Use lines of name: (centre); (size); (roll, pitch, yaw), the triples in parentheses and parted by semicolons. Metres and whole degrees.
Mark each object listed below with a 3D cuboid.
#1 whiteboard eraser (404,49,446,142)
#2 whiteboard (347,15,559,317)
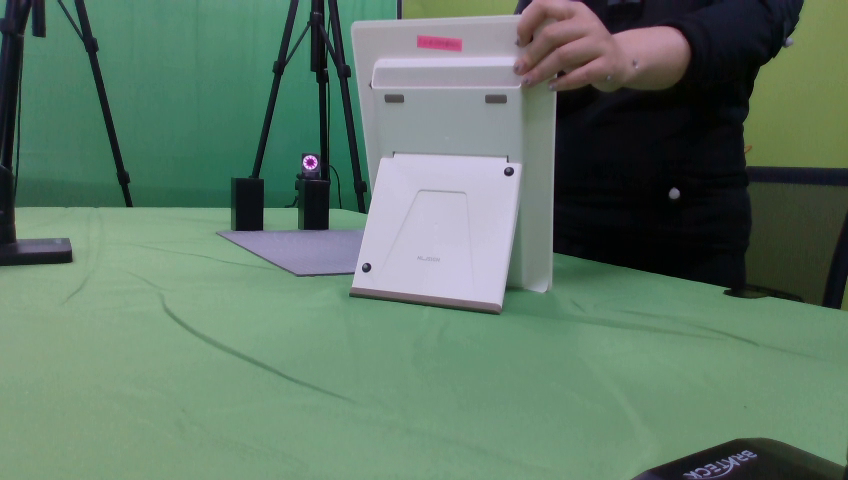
whiteboard eraser: (0.002, -0.159, 0.669); (0.041, 0.101, 0.019); (5, 31, 16)
whiteboard: (0.012, -0.056, 0.609); (0.216, 0.305, 0.144); (5, 26, 19)
